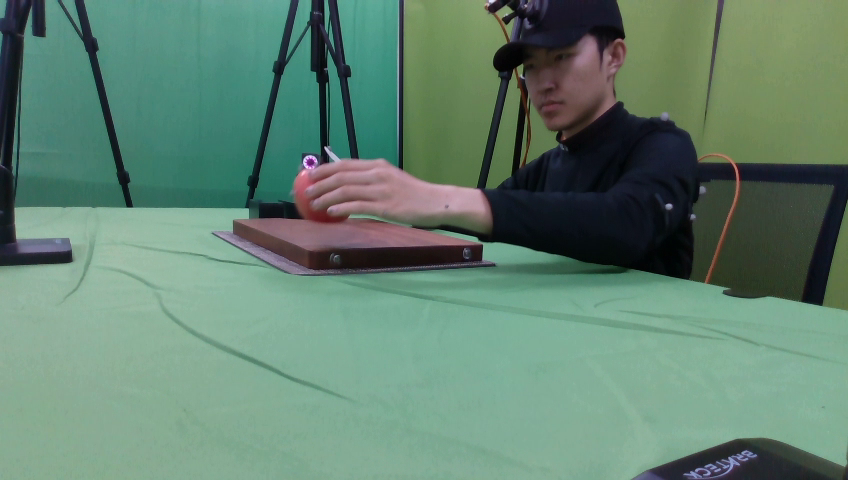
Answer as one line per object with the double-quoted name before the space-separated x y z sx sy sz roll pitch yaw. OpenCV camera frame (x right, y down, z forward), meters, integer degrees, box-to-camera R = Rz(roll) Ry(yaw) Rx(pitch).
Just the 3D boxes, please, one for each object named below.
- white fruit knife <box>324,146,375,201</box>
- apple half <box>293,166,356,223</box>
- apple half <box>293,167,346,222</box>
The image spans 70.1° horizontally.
"white fruit knife" -0.134 -0.122 1.105 0.016 0.027 0.208 -22 -24 10
"apple half" -0.121 -0.057 0.776 0.081 0.074 0.053 1 9 -38
"apple half" -0.145 -0.062 0.807 0.082 0.081 0.032 -3 11 -38
